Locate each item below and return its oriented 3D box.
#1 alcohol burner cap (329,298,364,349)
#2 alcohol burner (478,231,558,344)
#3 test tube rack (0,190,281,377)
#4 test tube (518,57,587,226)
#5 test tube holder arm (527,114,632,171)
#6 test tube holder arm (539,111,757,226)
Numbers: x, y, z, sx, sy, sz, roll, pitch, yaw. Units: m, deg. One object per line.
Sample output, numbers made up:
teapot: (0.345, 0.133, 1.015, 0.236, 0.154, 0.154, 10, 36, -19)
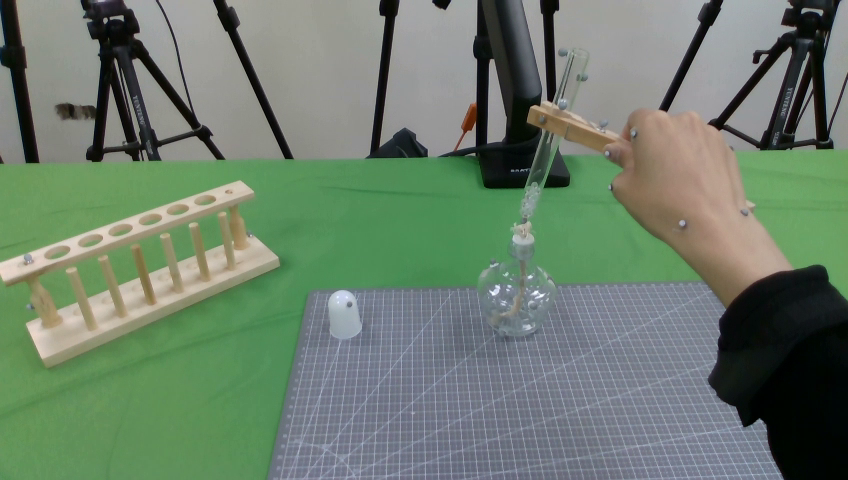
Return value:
alcohol burner cap: (-0.077, 0.078, 0.589, 0.034, 0.048, 0.033, 0, 35, 1)
alcohol burner: (0.091, 0.040, 0.577, 0.078, 0.120, 0.077, 0, 36, 0)
test tube rack: (-0.276, 0.035, 0.623, 0.243, 0.086, 0.066, -25, 41, -32)
test tube: (0.101, -0.073, 0.488, 0.017, 0.151, 0.017, 7, 37, -5)
test tube holder arm: (0.119, -0.075, 0.463, 0.087, 0.015, 0.010, 28, 45, 28)
test tube holder arm: (0.155, -0.057, 0.443, 0.013, 0.015, 0.176, -30, 49, -35)
